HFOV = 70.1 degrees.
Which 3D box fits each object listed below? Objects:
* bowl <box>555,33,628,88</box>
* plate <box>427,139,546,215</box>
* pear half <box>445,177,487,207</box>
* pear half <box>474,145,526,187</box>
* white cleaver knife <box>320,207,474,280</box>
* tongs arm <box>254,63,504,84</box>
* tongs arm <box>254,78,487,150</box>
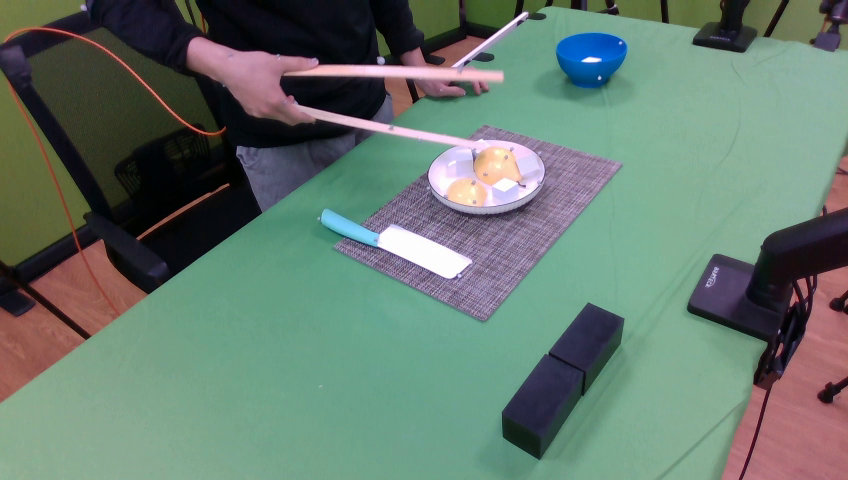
[{"bbox_3d":[0.362,-0.385,1.319,0.151,0.077,0.150,-4,41,4],"label":"bowl"},{"bbox_3d":[0.109,-0.106,1.058,0.207,0.039,0.206,-4,40,4],"label":"plate"},{"bbox_3d":[0.072,-0.086,1.032,0.070,0.031,0.087,-20,37,-10],"label":"pear half"},{"bbox_3d":[0.140,-0.129,1.059,0.076,0.056,0.109,-37,53,-25],"label":"pear half"},{"bbox_3d":[-0.052,-0.001,0.977,0.284,0.021,0.066,24,45,26],"label":"white cleaver knife"},{"bbox_3d":[-0.069,-0.257,0.937,0.388,0.028,0.027,0,47,-1],"label":"tongs arm"},{"bbox_3d":[-0.078,-0.203,0.985,0.386,0.051,0.026,8,43,-8],"label":"tongs arm"}]
